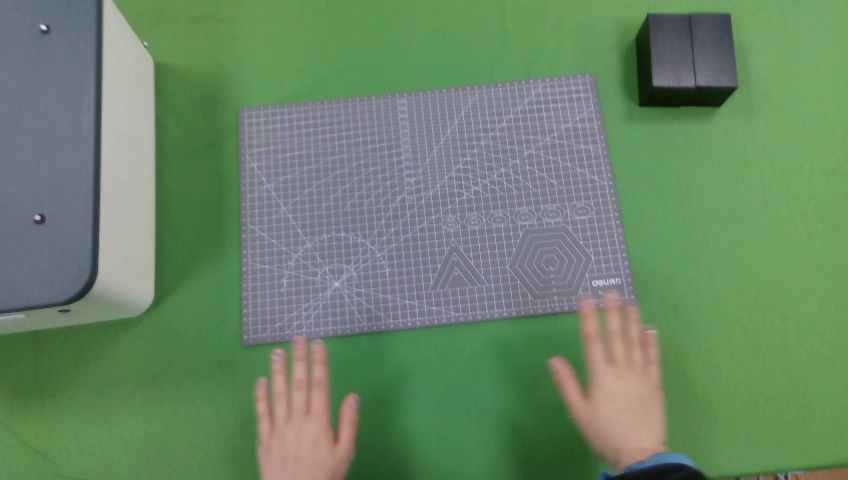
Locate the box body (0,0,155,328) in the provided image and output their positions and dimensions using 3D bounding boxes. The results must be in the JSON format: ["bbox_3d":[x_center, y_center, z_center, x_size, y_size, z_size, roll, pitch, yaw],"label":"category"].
[{"bbox_3d":[-0.447,-0.089,0.663,0.254,0.161,0.362,-7,76,-1],"label":"box body"}]

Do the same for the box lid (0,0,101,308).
[{"bbox_3d":[-0.449,-0.111,0.592,0.263,0.015,0.369,-7,77,-1],"label":"box lid"}]
